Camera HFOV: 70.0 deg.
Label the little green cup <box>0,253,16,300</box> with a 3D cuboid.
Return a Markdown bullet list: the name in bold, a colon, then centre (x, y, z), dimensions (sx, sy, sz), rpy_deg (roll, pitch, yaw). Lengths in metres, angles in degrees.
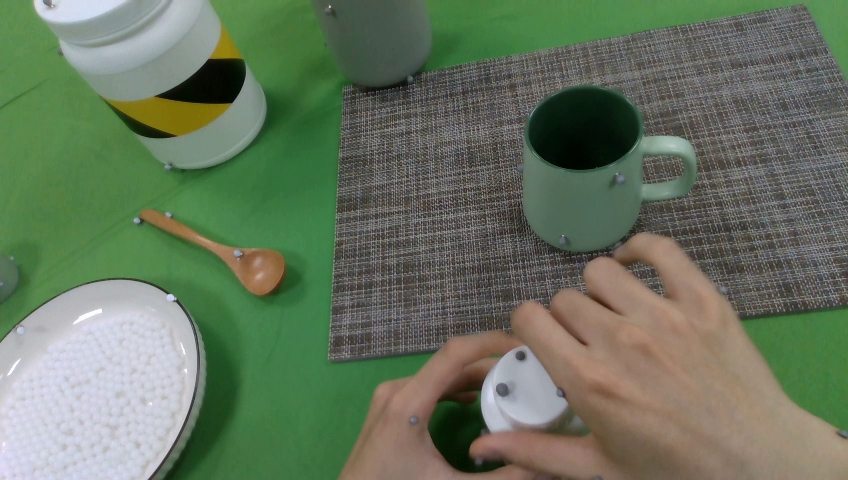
- **little green cup**: centre (-0.424, 0.034, 0.572), dimensions (0.061, 0.039, 0.061), rpy_deg (-5, 59, 9)

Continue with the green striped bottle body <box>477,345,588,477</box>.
- **green striped bottle body**: centre (0.068, 0.104, 0.371), dimensions (0.063, 0.120, 0.062), rpy_deg (-6, 60, 11)

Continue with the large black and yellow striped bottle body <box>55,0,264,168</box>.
- **large black and yellow striped bottle body**: centre (-0.246, -0.169, 0.564), dimensions (0.130, 0.186, 0.129), rpy_deg (-6, 59, 10)

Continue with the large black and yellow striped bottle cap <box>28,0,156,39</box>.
- **large black and yellow striped bottle cap**: centre (-0.264, -0.209, 0.493), dimensions (0.115, 0.019, 0.114), rpy_deg (-5, 58, 9)

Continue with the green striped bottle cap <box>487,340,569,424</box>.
- **green striped bottle cap**: centre (0.056, 0.077, 0.328), dimensions (0.044, 0.020, 0.044), rpy_deg (-1, 66, 4)

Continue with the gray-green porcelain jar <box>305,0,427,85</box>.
- **gray-green porcelain jar**: centre (-0.055, -0.224, 0.585), dimensions (0.106, 0.128, 0.105), rpy_deg (-6, 55, 9)

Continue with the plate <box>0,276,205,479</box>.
- **plate**: centre (-0.267, 0.128, 0.482), dimensions (0.209, 0.038, 0.207), rpy_deg (-5, 59, 9)

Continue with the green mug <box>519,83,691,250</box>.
- **green mug**: centre (0.132, -0.052, 0.453), dimensions (0.125, 0.106, 0.092), rpy_deg (0, 60, 13)

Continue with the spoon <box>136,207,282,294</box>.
- **spoon**: centre (-0.200, 0.001, 0.550), dimensions (0.192, 0.022, 0.041), rpy_deg (22, 87, 23)
